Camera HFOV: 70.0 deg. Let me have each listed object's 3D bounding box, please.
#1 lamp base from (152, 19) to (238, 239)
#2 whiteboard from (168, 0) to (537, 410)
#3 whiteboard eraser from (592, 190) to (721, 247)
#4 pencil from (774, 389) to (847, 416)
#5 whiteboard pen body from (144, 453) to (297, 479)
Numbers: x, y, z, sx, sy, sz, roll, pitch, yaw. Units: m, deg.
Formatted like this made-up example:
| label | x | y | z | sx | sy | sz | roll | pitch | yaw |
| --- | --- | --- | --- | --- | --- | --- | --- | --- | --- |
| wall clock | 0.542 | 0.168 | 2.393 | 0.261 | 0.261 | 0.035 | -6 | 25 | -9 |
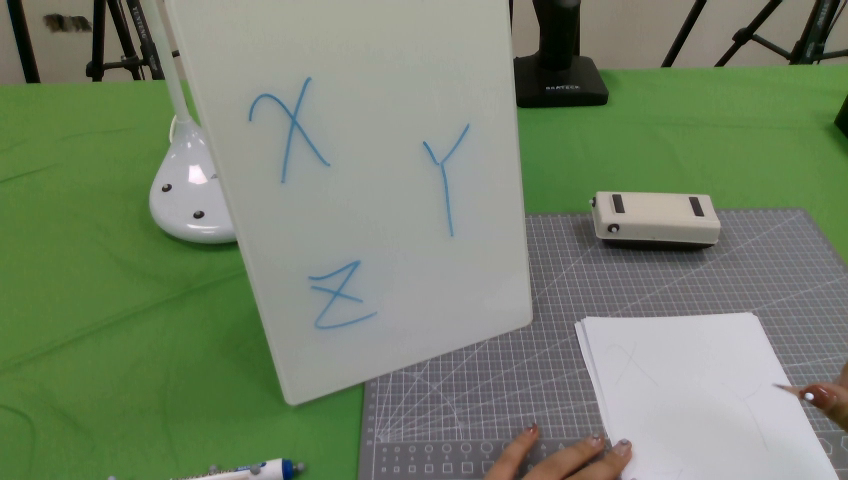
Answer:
| label | x | y | z | sx | sy | sz | roll | pitch | yaw |
| --- | --- | --- | --- | --- | --- | --- | --- | --- | --- |
| lamp base | -0.220 | -0.118 | 0.608 | 0.177 | 0.182 | 0.160 | 28 | 50 | 31 |
| whiteboard | -0.046 | -0.058 | 0.490 | 0.217 | 0.307 | 0.142 | -16 | 25 | -14 |
| whiteboard eraser | 0.225 | -0.020 | 0.593 | 0.112 | 0.042 | 0.055 | 3 | 44 | 4 |
| pencil | 0.268 | 0.099 | 0.297 | 0.012 | 0.012 | 0.193 | -27 | 16 | -26 |
| whiteboard pen body | -0.160 | 0.168 | 0.419 | 0.141 | 0.017 | 0.017 | -8 | 43 | -7 |
